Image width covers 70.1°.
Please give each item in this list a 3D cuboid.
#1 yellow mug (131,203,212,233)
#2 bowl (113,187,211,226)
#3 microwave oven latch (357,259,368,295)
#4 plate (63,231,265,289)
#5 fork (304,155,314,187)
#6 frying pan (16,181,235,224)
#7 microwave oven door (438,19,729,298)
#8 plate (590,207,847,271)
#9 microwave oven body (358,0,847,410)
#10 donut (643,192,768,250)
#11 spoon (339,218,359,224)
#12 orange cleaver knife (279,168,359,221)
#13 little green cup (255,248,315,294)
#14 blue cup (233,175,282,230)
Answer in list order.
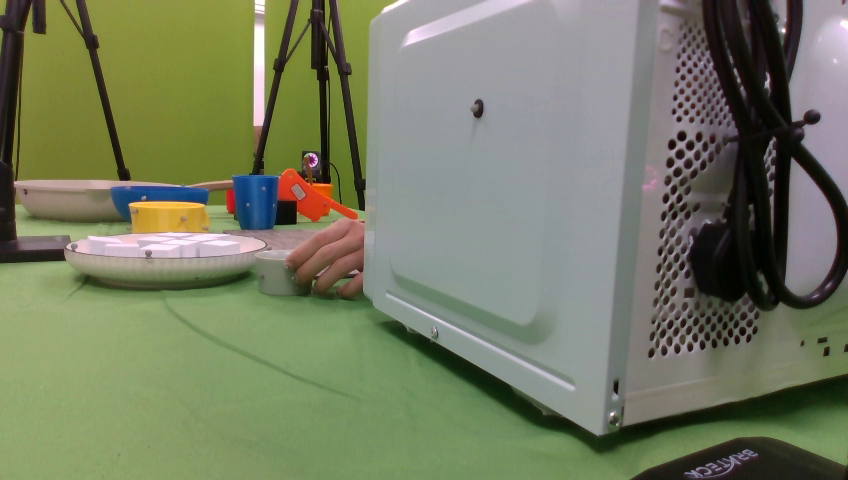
[{"bbox_3d":[-0.356,-0.020,0.878,0.099,0.064,0.131,4,7,22],"label":"yellow mug"},{"bbox_3d":[-0.436,-0.046,1.013,0.151,0.077,0.151,2,7,0],"label":"bowl"},{"bbox_3d":[-0.019,0.031,0.529,0.079,0.029,0.030,-1,7,-27],"label":"microwave oven latch"},{"bbox_3d":[-0.288,0.021,0.687,0.208,0.039,0.207,2,8,0],"label":"plate"},{"bbox_3d":[-0.268,-0.134,1.446,0.028,0.018,0.207,1,-36,-1],"label":"fork"},{"bbox_3d":[-0.553,-0.097,1.266,0.490,0.102,0.305,-10,13,-24],"label":"frying pan"},{"bbox_3d":[0.181,-0.076,0.618,0.358,0.243,0.039,-2,8,-28],"label":"microwave oven door"},{"bbox_3d":[0.246,-0.003,0.510,0.209,0.038,0.209,3,6,0],"label":"plate"},{"bbox_3d":[0.210,-0.051,0.471,0.444,0.260,0.324,-1,7,-28],"label":"microwave oven body"},{"bbox_3d":[0.239,-0.016,0.518,0.099,0.048,0.099,2,4,0],"label":"donut"},{"bbox_3d":[-0.087,-0.041,1.268,0.193,0.021,0.041,4,20,13],"label":"spoon"},{"bbox_3d":[-0.236,-0.084,1.333,0.212,0.077,0.012,31,-9,-31],"label":"orange cleaver knife"},{"bbox_3d":[-0.144,0.032,0.626,0.061,0.038,0.061,4,7,0],"label":"little green cup"},{"bbox_3d":[-0.314,-0.071,1.141,0.093,0.100,0.092,0,7,0],"label":"blue cup"}]
